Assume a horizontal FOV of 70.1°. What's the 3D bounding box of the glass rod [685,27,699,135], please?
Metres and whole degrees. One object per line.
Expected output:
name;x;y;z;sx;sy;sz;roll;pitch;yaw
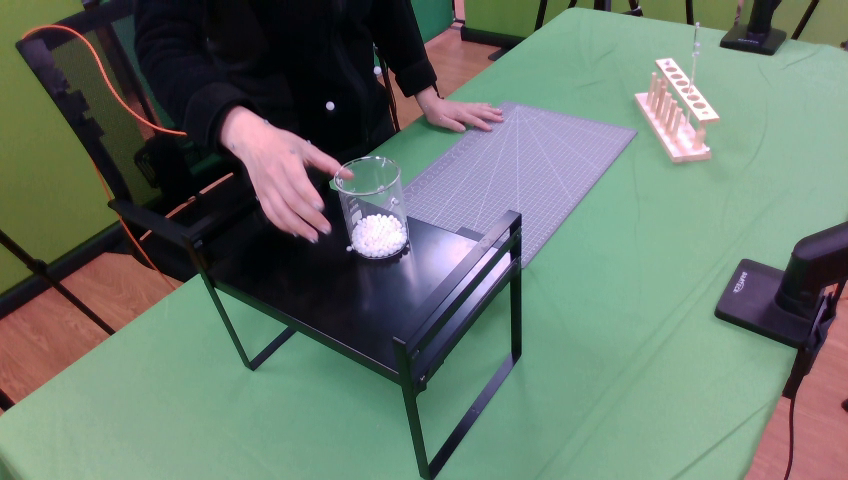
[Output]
glass rod;0.478;-0.279;1.078;0.008;0.200;0.008;-7;34;5

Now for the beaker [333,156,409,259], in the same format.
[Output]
beaker;-0.055;-0.036;0.688;0.073;0.101;0.084;11;43;20

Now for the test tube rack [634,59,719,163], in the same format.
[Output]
test tube rack;0.470;-0.251;1.148;0.067;0.085;0.241;-6;40;2
